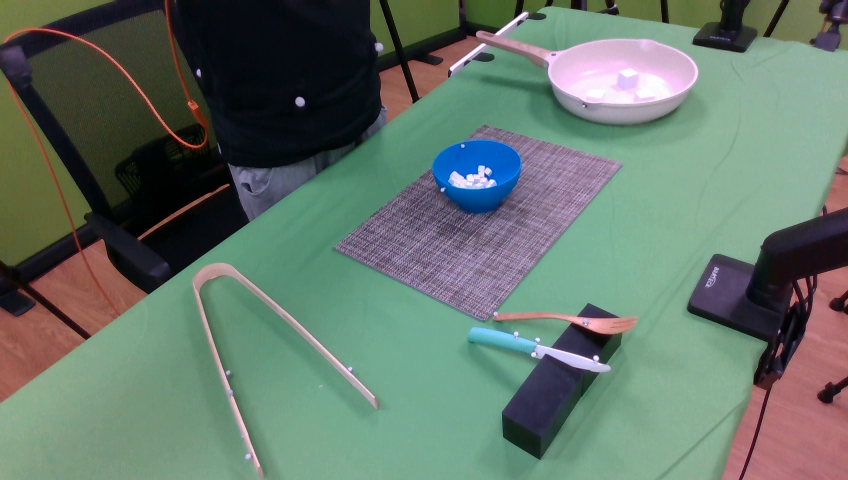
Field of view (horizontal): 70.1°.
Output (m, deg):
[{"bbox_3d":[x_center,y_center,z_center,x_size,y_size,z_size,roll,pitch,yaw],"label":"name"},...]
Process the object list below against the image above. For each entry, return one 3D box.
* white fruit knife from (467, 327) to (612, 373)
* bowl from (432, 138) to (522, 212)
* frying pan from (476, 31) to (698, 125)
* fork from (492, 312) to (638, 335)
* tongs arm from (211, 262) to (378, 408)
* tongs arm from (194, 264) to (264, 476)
[{"bbox_3d":[0.134,0.134,0.742,0.205,0.027,0.016,7,35,41],"label":"white fruit knife"},{"bbox_3d":[0.091,-0.100,1.022,0.151,0.077,0.150,-4,41,4],"label":"bowl"},{"bbox_3d":[0.320,-0.371,1.290,0.484,0.103,0.307,29,51,24],"label":"frying pan"},{"bbox_3d":[0.173,0.103,0.774,0.206,0.019,0.028,0,38,40],"label":"fork"},{"bbox_3d":[-0.192,0.121,0.851,0.028,0.028,0.384,-37,48,-27],"label":"tongs arm"},{"bbox_3d":[-0.259,0.153,0.816,0.051,0.026,0.381,-24,42,-20],"label":"tongs arm"}]
